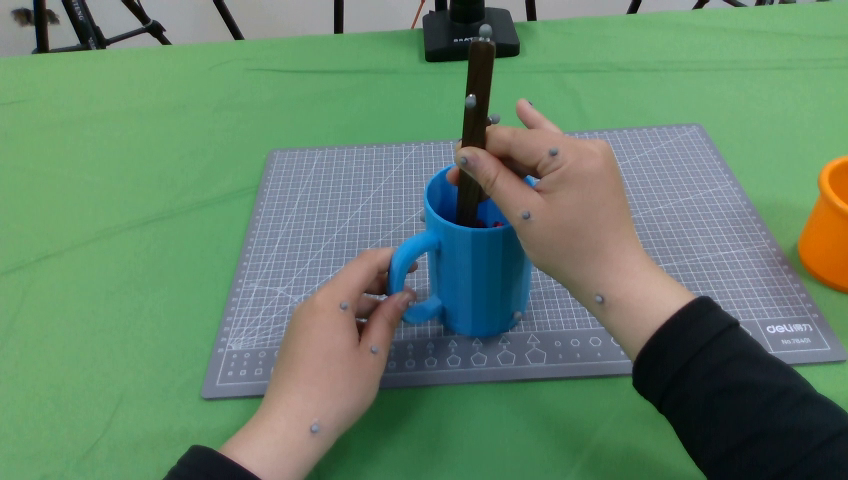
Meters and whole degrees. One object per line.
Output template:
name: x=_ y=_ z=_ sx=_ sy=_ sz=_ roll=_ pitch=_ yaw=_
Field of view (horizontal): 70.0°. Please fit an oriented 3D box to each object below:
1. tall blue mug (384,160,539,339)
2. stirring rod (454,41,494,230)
tall blue mug: x=0.031 y=0.018 z=0.426 sx=0.077 sy=0.109 sz=0.107 roll=20 pitch=48 yaw=22
stirring rod: x=0.027 y=-0.036 z=0.367 sx=0.014 sy=0.178 sz=0.005 roll=8 pitch=44 yaw=7
